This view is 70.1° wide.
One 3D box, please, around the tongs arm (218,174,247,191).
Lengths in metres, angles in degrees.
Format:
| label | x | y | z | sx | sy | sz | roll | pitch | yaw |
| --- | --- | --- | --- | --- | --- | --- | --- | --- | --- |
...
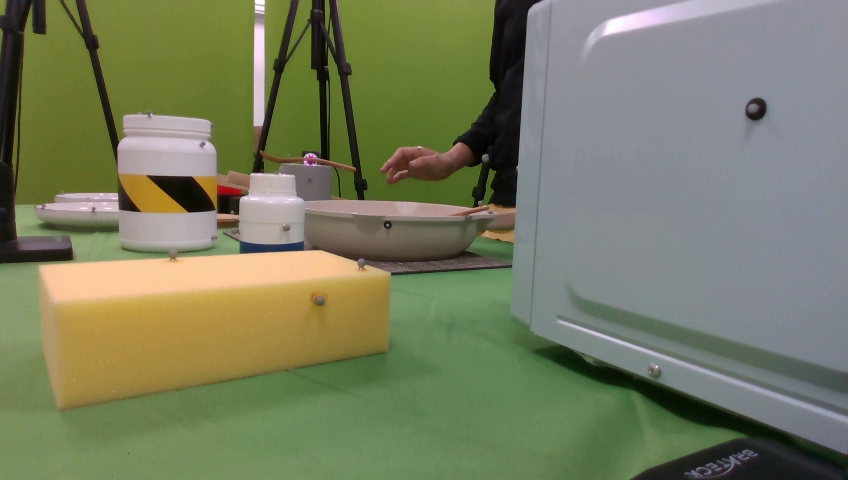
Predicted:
| label | x | y | z | sx | sy | sz | roll | pitch | yaw |
| --- | --- | --- | --- | --- | --- | --- | --- | --- | --- |
| tongs arm | -0.316 | -0.110 | 1.448 | 0.389 | 0.027 | 0.028 | 11 | -7 | -26 |

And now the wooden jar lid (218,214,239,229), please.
| label | x | y | z | sx | sy | sz | roll | pitch | yaw |
| --- | --- | --- | --- | --- | --- | --- | --- | --- | --- |
| wooden jar lid | -0.404 | -0.037 | 1.169 | 0.108 | 0.020 | 0.108 | 3 | 7 | 0 |

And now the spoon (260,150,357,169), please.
| label | x | y | z | sx | sy | sz | roll | pitch | yaw |
| --- | --- | --- | --- | --- | --- | --- | --- | --- | --- |
| spoon | -0.231 | -0.162 | 1.221 | 0.194 | 0.021 | 0.041 | 3 | 3 | -15 |

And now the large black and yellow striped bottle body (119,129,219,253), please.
| label | x | y | z | sx | sy | sz | roll | pitch | yaw |
| --- | --- | --- | --- | --- | --- | --- | --- | --- | --- |
| large black and yellow striped bottle body | -0.367 | -0.080 | 0.876 | 0.131 | 0.184 | 0.130 | 2 | 7 | 0 |

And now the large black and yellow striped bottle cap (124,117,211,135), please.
| label | x | y | z | sx | sy | sz | roll | pitch | yaw |
| --- | --- | --- | --- | --- | --- | --- | --- | --- | --- |
| large black and yellow striped bottle cap | -0.366 | -0.163 | 0.866 | 0.115 | 0.019 | 0.115 | 3 | 7 | 0 |

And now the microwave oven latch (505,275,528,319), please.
| label | x | y | z | sx | sy | sz | roll | pitch | yaw |
| --- | --- | --- | --- | --- | --- | --- | --- | --- | --- |
| microwave oven latch | 0.100 | 0.042 | 0.471 | 0.079 | 0.029 | 0.030 | -1 | 7 | -29 |

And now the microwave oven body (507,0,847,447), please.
| label | x | y | z | sx | sy | sz | roll | pitch | yaw |
| --- | --- | --- | --- | --- | --- | --- | --- | --- | --- |
| microwave oven body | 0.331 | -0.042 | 0.425 | 0.444 | 0.260 | 0.324 | -2 | 8 | -31 |

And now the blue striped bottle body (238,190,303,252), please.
| label | x | y | z | sx | sy | sz | roll | pitch | yaw |
| --- | --- | --- | --- | --- | --- | --- | --- | --- | --- |
| blue striped bottle body | -0.153 | -0.007 | 0.606 | 0.063 | 0.120 | 0.063 | 2 | 8 | 0 |

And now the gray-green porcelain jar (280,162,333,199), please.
| label | x | y | z | sx | sy | sz | roll | pitch | yaw |
| --- | --- | --- | --- | --- | --- | --- | --- | --- | --- |
| gray-green porcelain jar | -0.238 | -0.092 | 1.221 | 0.106 | 0.126 | 0.106 | 2 | 7 | 0 |

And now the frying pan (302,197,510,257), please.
| label | x | y | z | sx | sy | sz | roll | pitch | yaw |
| --- | --- | --- | --- | --- | --- | --- | --- | --- | --- |
| frying pan | 0.050 | -0.035 | 0.915 | 0.487 | 0.102 | 0.307 | -5 | 7 | 10 |

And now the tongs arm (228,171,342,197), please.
| label | x | y | z | sx | sy | sz | roll | pitch | yaw |
| --- | --- | --- | --- | --- | --- | --- | --- | --- | --- |
| tongs arm | -0.268 | -0.103 | 1.378 | 0.387 | 0.026 | 0.050 | 11 | -4 | -40 |

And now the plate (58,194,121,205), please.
| label | x | y | z | sx | sy | sz | roll | pitch | yaw |
| --- | --- | --- | --- | --- | --- | --- | --- | --- | --- |
| plate | -0.671 | -0.074 | 1.310 | 0.209 | 0.038 | 0.209 | 2 | 8 | 0 |

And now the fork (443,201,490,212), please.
| label | x | y | z | sx | sy | sz | roll | pitch | yaw |
| --- | --- | --- | --- | --- | --- | --- | --- | --- | --- |
| fork | -0.006 | -0.020 | 0.852 | 0.207 | 0.018 | 0.028 | -22 | -3 | 10 |

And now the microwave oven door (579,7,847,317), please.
| label | x | y | z | sx | sy | sz | roll | pitch | yaw |
| --- | --- | --- | --- | --- | --- | --- | --- | --- | --- |
| microwave oven door | 0.295 | -0.067 | 0.570 | 0.358 | 0.243 | 0.039 | -3 | 9 | -31 |

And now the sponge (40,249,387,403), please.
| label | x | y | z | sx | sy | sz | roll | pitch | yaw |
| --- | --- | --- | --- | --- | --- | --- | --- | --- | --- |
| sponge | -0.142 | 0.047 | 0.420 | 0.208 | 0.061 | 0.117 | -3 | 8 | -36 |

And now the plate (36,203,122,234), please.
| label | x | y | z | sx | sy | sz | roll | pitch | yaw |
| --- | --- | --- | --- | --- | --- | --- | --- | --- | --- |
| plate | -0.571 | -0.040 | 1.083 | 0.208 | 0.039 | 0.207 | 2 | 8 | 0 |

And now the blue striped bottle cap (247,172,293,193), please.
| label | x | y | z | sx | sy | sz | roll | pitch | yaw |
| --- | --- | --- | --- | --- | --- | --- | --- | --- | --- |
| blue striped bottle cap | -0.152 | -0.057 | 0.598 | 0.044 | 0.020 | 0.044 | 3 | 7 | 0 |
